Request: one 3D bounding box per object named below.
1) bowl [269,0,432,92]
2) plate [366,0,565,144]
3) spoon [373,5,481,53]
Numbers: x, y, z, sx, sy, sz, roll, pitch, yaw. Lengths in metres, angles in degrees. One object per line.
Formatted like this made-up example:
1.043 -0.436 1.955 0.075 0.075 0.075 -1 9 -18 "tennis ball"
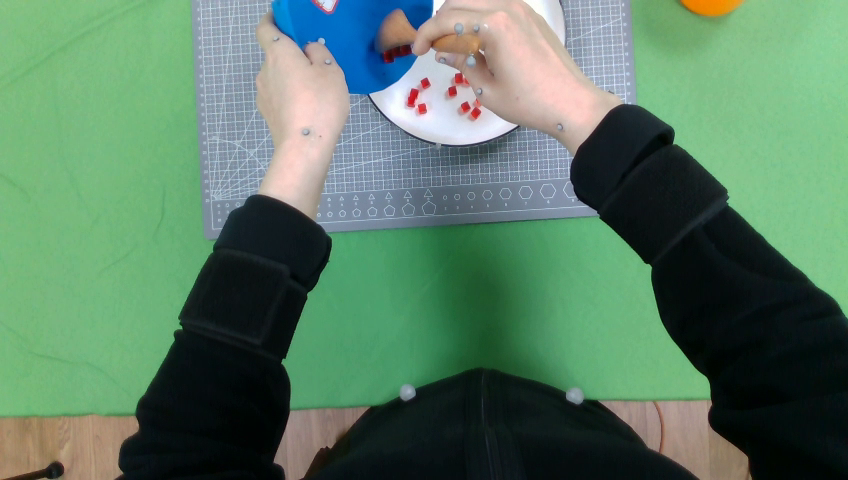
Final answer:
-0.073 -0.206 0.503 0.076 0.153 0.151 26 91 40 "bowl"
0.034 -0.198 0.602 0.209 0.038 0.209 0 90 3 "plate"
-0.002 -0.156 0.459 0.022 0.191 0.041 26 98 -34 "spoon"
